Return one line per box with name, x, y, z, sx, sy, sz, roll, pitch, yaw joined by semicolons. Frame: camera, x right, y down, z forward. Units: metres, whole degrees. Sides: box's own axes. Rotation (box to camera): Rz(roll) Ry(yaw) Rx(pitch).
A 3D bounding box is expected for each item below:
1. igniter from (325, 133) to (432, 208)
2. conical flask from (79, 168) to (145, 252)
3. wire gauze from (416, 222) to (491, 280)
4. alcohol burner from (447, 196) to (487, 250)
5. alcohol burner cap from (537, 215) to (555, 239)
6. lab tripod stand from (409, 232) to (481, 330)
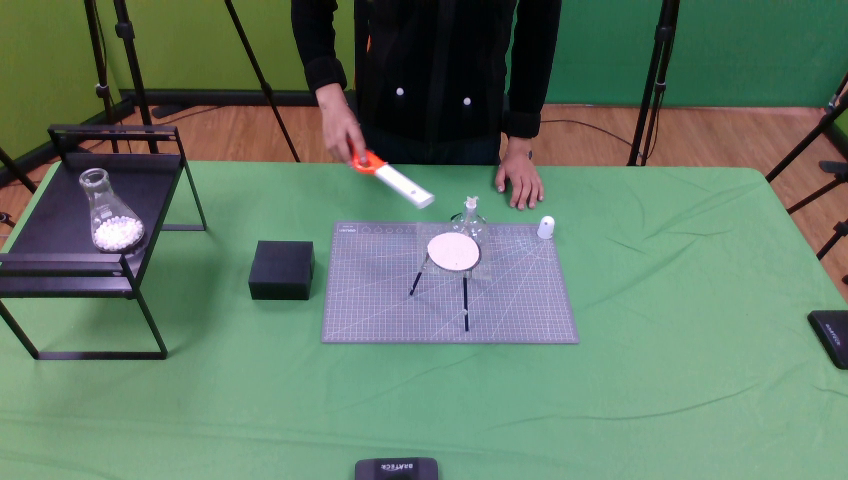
igniter;-0.092;-0.139;1.161;0.275;0.025;0.057;36;55;29
conical flask;-0.463;-0.048;0.888;0.075;0.122;0.075;2;46;-2
wire gauze;0.048;0.014;1.013;0.125;0.011;0.120;3;47;-3
alcohol burner;0.085;-0.039;1.175;0.078;0.119;0.077;3;45;-3
alcohol burner cap;0.249;-0.029;1.228;0.034;0.048;0.033;1;48;-1
lab tripod stand;0.051;0.064;1.059;0.148;0.132;0.147;4;47;-4
